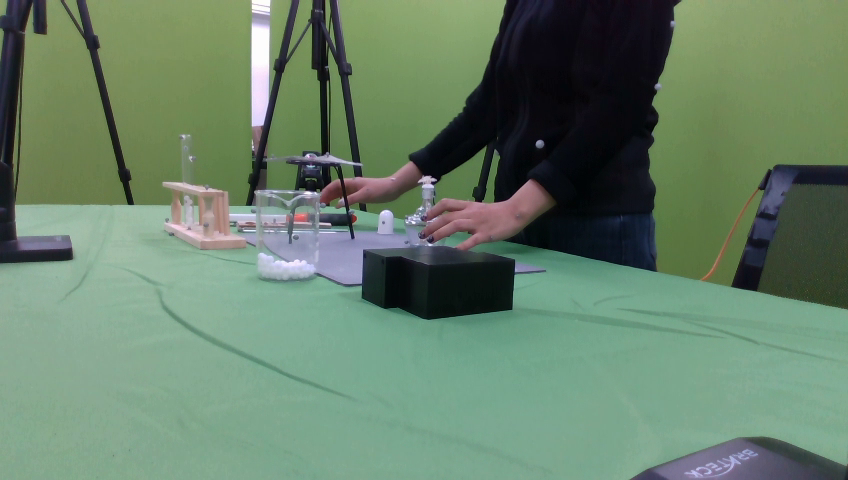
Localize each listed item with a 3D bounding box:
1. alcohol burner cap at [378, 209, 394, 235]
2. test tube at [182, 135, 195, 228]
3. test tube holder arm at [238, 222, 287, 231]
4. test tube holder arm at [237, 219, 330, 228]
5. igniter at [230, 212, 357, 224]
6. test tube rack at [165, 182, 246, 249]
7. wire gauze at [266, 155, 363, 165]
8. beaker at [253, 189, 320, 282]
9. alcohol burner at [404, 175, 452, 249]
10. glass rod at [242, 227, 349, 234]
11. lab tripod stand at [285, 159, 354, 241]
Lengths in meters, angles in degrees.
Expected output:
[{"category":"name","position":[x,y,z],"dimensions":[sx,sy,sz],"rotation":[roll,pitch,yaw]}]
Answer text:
[{"category":"alcohol burner cap","position":[-0.072,-0.035,1.145],"dimensions":[0.034,0.048,0.034],"rotation":[2,7,0]},{"category":"test tube","position":[-0.382,-0.095,0.983],"dimensions":[0.017,0.150,0.017],"rotation":[-1,2,0]},{"category":"test tube holder arm","position":[-0.297,-0.024,1.114],"dimensions":[0.088,0.015,0.010],"rotation":[-3,46,-33]},{"category":"test tube holder arm","position":[-0.261,-0.030,1.142],"dimensions":[0.179,0.015,0.013],"rotation":[-4,47,-34]},{"category":"igniter","position":[-0.271,-0.044,1.232],"dimensions":[0.278,0.025,0.057],"rotation":[-2,-2,-27]},{"category":"test tube rack","position":[-0.360,-0.044,0.982],"dimensions":[0.067,0.085,0.241],"rotation":[-3,9,-34]},{"category":"wire gauze","position":[-0.185,-0.136,1.016],"dimensions":[0.126,0.011,0.121],"rotation":[-4,11,-33]},{"category":"beaker","position":[-0.156,-0.005,0.689],"dimensions":[0.074,0.100,0.083],"rotation":[0,8,-14]},{"category":"alcohol burner","position":[0.007,-0.045,0.970],"dimensions":[0.078,0.119,0.078],"rotation":[1,9,0]},{"category":"glass rod","position":[-0.232,-0.016,1.110],"dimensions":[0.201,0.008,0.008],"rotation":[2,6,-30]},{"category":"lab tripod stand","position":[-0.187,-0.068,1.013],"dimensions":[0.148,0.131,0.148],"rotation":[4,9,0]}]
